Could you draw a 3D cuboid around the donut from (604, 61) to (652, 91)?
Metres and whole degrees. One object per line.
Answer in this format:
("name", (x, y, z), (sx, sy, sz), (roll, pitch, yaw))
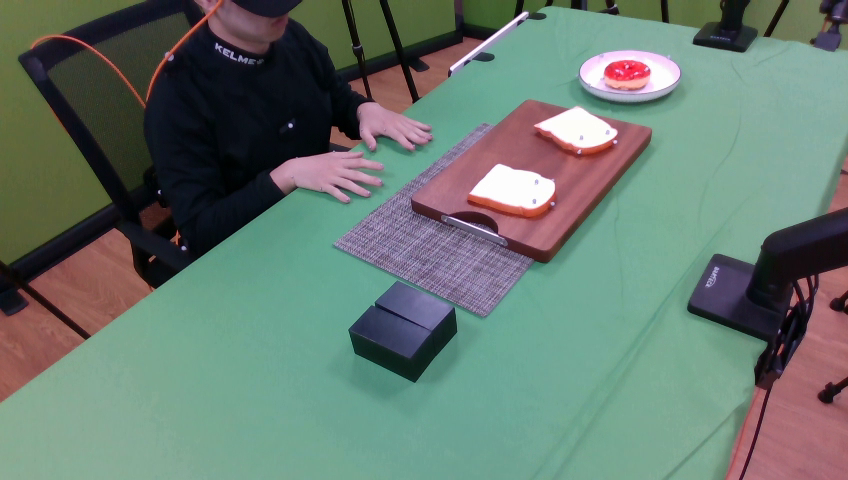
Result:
("donut", (0.432, -0.349, 1.285), (0.099, 0.048, 0.098), (-4, 38, 4))

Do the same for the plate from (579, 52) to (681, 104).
("plate", (0.437, -0.343, 1.294), (0.209, 0.038, 0.208), (-4, 40, 4))

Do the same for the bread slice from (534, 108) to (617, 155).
("bread slice", (0.289, -0.200, 1.121), (0.107, 0.018, 0.133), (-27, 43, -22))

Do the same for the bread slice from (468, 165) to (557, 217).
("bread slice", (0.154, -0.083, 1.003), (0.130, 0.019, 0.105), (18, 48, 29))
